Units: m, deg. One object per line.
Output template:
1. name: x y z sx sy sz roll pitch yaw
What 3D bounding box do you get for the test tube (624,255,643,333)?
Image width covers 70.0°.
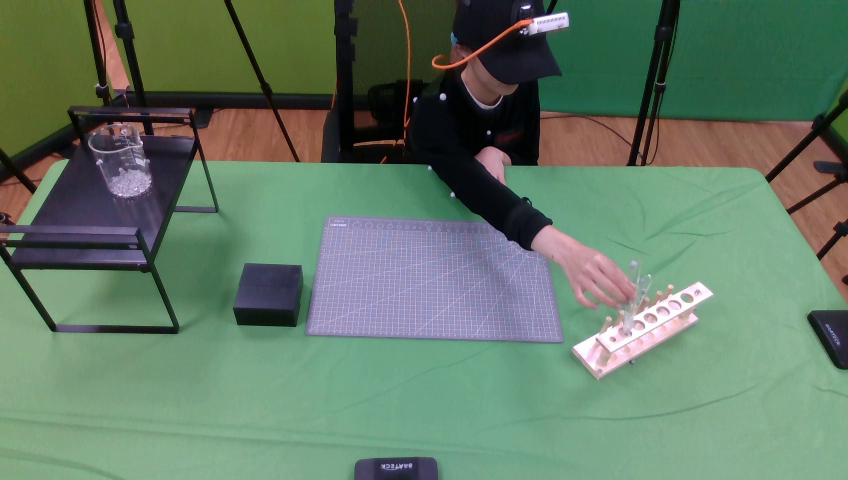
1. test tube: 0.320 0.086 0.928 0.017 0.151 0.017 -5 35 4

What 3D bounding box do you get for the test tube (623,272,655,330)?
1. test tube: 0.356 0.104 1.010 0.017 0.151 0.017 1 47 -1

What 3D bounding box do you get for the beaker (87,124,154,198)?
1. beaker: -0.482 -0.124 0.978 0.084 0.101 0.073 9 46 4

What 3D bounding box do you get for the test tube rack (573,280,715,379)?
1. test tube rack: 0.378 0.140 1.038 0.242 0.085 0.066 -22 51 -23
